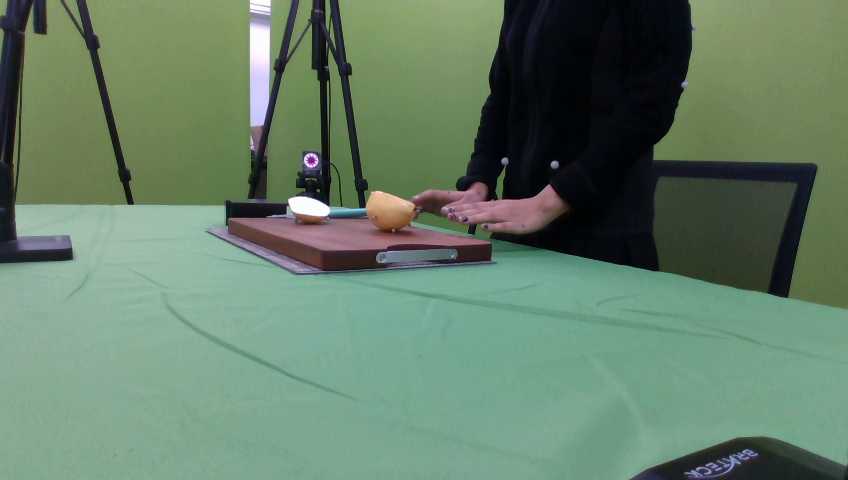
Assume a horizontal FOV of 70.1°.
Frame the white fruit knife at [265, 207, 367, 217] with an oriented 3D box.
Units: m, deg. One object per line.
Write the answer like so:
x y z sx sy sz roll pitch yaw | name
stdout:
-0.192 -0.050 1.129 0.208 0.016 0.027 -4 -7 -25 | white fruit knife

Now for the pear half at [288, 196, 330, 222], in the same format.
-0.202 -0.048 1.041 0.070 0.031 0.088 20 25 14 | pear half

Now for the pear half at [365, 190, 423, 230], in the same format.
-0.045 -0.042 0.955 0.077 0.056 0.109 20 -9 -41 | pear half
